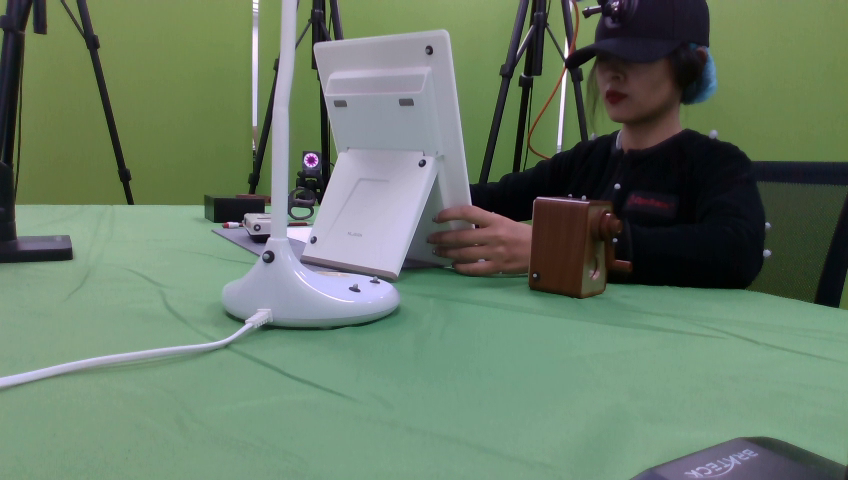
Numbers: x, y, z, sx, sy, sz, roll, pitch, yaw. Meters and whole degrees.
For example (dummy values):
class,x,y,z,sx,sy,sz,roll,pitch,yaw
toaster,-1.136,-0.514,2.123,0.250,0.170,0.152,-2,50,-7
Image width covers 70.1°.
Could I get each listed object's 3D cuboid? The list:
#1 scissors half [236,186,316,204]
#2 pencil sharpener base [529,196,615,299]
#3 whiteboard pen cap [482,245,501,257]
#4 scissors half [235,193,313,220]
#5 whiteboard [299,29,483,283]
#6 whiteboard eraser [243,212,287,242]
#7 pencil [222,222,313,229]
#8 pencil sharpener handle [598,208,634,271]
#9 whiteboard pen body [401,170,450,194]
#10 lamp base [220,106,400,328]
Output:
class,x,y,z,sx,sy,sz,roll,pitch,yaw
scissors half,-0.320,-0.097,1.316,0.176,0.040,0.013,-3,11,-29
pencil sharpener base,0.167,0.007,0.678,0.076,0.107,0.062,10,10,42
whiteboard pen cap,0.104,0.017,0.936,0.018,0.018,0.033,-1,4,-22
scissors half,-0.324,-0.077,1.319,0.176,0.040,0.012,17,6,-31
whiteboard,-0.074,-0.082,0.742,0.216,0.305,0.144,9,29,37
whiteboard eraser,-0.260,-0.021,0.982,0.056,0.042,0.112,0,8,-23
pencil,-0.302,-0.030,1.188,0.195,0.012,0.012,-2,9,-42
pencil sharpener handle,0.208,0.000,0.644,0.030,0.068,0.036,10,23,42
whiteboard pen body,0.002,-0.082,0.871,0.017,0.017,0.141,6,18,27
lamp base,-0.101,-0.023,0.531,0.160,0.180,0.179,4,10,10
